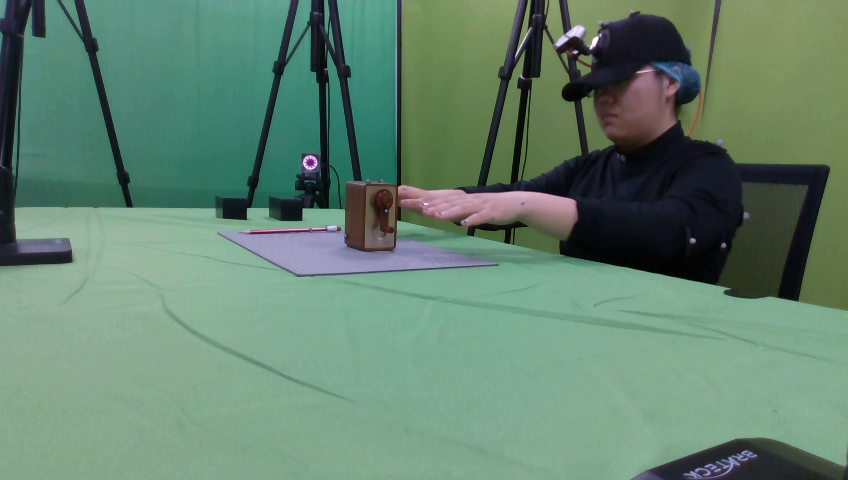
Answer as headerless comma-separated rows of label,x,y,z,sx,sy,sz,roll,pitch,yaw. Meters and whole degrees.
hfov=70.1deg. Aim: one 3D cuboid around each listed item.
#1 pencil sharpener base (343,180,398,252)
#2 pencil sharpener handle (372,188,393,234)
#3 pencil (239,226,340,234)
pencil sharpener base,-0.085,-0.038,0.956,0.062,0.107,0.076,-1,9,-33
pencil sharpener handle,-0.057,-0.044,0.912,0.036,0.067,0.030,-2,9,-33
pencil,-0.245,-0.018,1.119,0.195,0.012,0.012,-3,9,-34
